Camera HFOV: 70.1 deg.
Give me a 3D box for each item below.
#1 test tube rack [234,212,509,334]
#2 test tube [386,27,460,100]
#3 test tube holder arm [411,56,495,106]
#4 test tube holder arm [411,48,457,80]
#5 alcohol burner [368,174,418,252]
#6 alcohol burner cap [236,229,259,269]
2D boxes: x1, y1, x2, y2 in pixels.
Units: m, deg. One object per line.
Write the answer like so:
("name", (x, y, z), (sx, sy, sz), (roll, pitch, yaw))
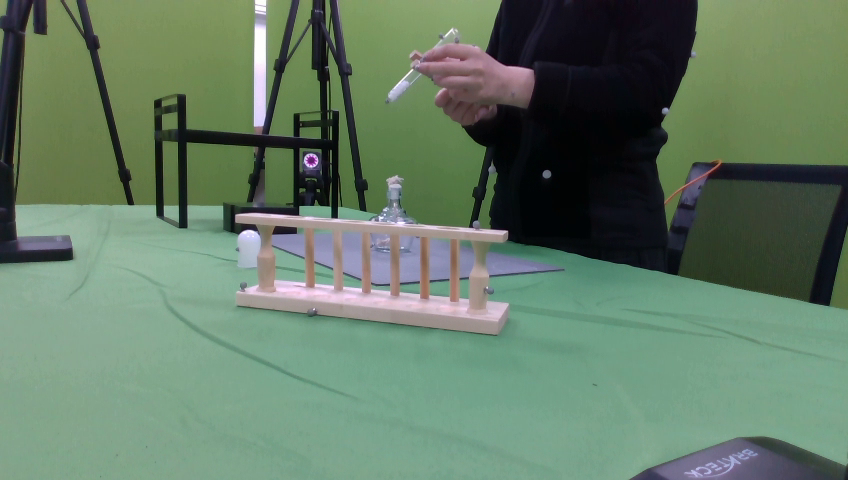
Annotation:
("test tube rack", (-0.046, 0.023, 0.547), (0.242, 0.085, 0.067), (4, 7, 15))
("test tube", (-0.005, -0.251, 0.871), (0.150, 0.017, 0.017), (-37, -18, 34))
("test tube holder arm", (0.047, -0.236, 0.912), (0.015, 0.013, 0.179), (-20, -25, 40))
("test tube holder arm", (0.016, -0.252, 0.884), (0.015, 0.010, 0.088), (-20, -34, 40))
("alcohol burner", (-0.047, -0.042, 0.922), (0.078, 0.119, 0.078), (1, 10, 0))
("alcohol burner cap", (-0.221, 0.010, 0.759), (0.034, 0.048, 0.034), (-1, 12, 1))
